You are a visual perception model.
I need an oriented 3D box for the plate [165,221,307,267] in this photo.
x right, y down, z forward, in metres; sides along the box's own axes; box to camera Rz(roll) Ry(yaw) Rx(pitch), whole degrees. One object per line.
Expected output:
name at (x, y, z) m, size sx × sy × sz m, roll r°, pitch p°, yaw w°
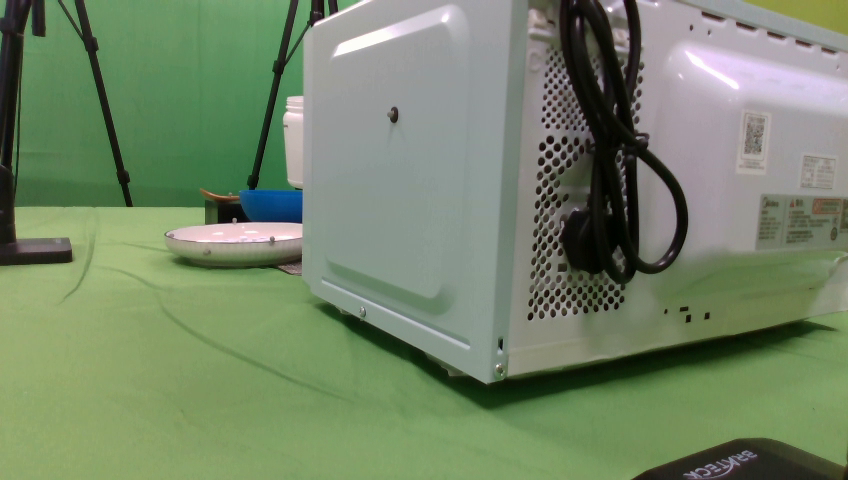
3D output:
plate at (-0.241, 0.004, 0.829) m, size 0.209 × 0.038 × 0.209 m, roll 0°, pitch 9°, yaw 0°

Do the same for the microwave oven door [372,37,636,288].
microwave oven door at (0.109, -0.080, 0.686) m, size 0.358 × 0.243 × 0.039 m, roll -2°, pitch 9°, yaw -33°

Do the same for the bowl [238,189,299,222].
bowl at (-0.244, -0.046, 1.052) m, size 0.151 × 0.077 × 0.151 m, roll 3°, pitch 7°, yaw 0°

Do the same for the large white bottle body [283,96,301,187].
large white bottle body at (-0.227, -0.211, 1.281) m, size 0.131 × 0.184 × 0.130 m, roll -1°, pitch 17°, yaw 1°

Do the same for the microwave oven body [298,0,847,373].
microwave oven body at (0.151, -0.055, 0.542) m, size 0.444 × 0.260 × 0.324 m, roll -2°, pitch 7°, yaw -33°

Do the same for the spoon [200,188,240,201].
spoon at (-0.338, -0.080, 1.189) m, size 0.194 × 0.021 × 0.041 m, roll 5°, pitch 2°, yaw -19°

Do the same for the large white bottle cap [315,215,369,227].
large white bottle cap at (-0.177, -0.041, 1.309) m, size 0.115 × 0.018 × 0.115 m, roll 3°, pitch 7°, yaw 0°

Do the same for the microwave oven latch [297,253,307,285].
microwave oven latch at (-0.082, 0.027, 0.582) m, size 0.079 × 0.029 × 0.030 m, roll -1°, pitch 7°, yaw -32°
